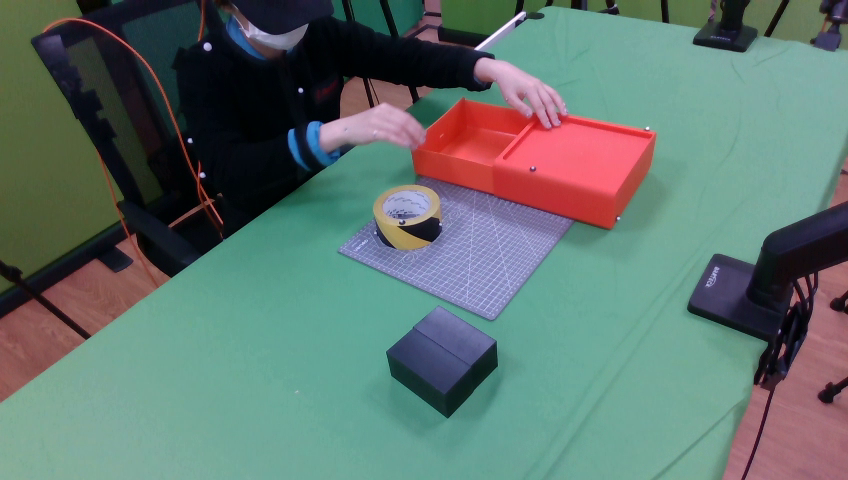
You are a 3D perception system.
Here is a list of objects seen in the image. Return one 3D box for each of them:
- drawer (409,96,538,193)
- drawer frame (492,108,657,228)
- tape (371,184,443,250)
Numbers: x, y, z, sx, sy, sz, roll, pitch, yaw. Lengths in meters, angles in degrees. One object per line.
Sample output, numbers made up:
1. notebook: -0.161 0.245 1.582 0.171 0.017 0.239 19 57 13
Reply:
1. drawer: 0.113 -0.177 1.113 0.210 0.073 0.195 19 46 29
2. drawer frame: 0.255 -0.130 1.032 0.212 0.083 0.202 19 47 27
3. tape: -0.028 -0.039 0.990 0.117 0.053 0.116 -4 40 4
